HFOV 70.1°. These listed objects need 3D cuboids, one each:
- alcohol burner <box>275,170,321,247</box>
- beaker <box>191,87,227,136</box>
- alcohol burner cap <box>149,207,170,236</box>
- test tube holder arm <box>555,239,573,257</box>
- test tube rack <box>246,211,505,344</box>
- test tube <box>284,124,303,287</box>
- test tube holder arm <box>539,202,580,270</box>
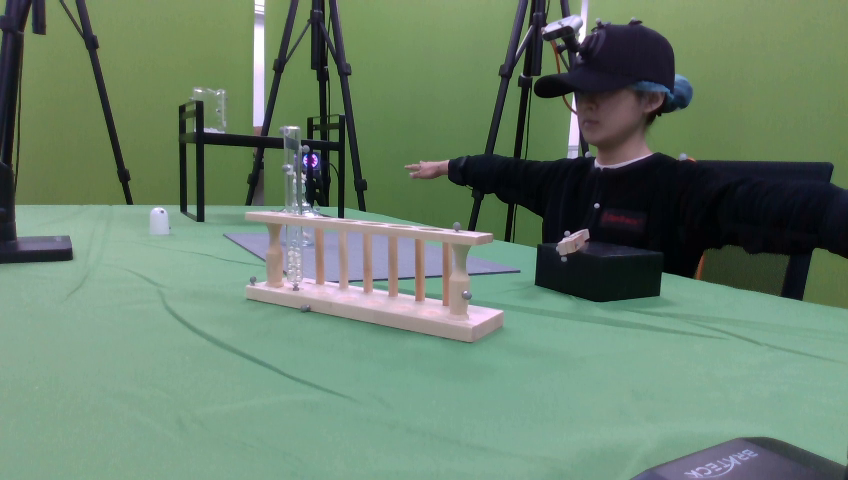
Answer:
[{"bbox_3d":[-0.199,-0.050,0.948,0.078,0.119,0.078,1,7,0],"label":"alcohol burner"},{"bbox_3d":[-0.476,-0.284,1.345,0.074,0.100,0.083,-3,10,-37],"label":"beaker"},{"bbox_3d":[-0.445,-0.032,1.019,0.034,0.048,0.034,4,9,0],"label":"alcohol burner cap"},{"bbox_3d":[0.155,0.008,0.666,0.015,0.010,0.088,-37,-6,15],"label":"test tube holder arm"},{"bbox_3d":[-0.049,0.025,0.547,0.241,0.085,0.067,7,7,29],"label":"test tube rack"},{"bbox_3d":[-0.120,-0.030,0.558,0.017,0.150,0.017,2,10,0],"label":"test tube"},{"bbox_3d":[0.156,-0.010,0.707,0.015,0.013,0.178,-39,19,15],"label":"test tube holder arm"}]
